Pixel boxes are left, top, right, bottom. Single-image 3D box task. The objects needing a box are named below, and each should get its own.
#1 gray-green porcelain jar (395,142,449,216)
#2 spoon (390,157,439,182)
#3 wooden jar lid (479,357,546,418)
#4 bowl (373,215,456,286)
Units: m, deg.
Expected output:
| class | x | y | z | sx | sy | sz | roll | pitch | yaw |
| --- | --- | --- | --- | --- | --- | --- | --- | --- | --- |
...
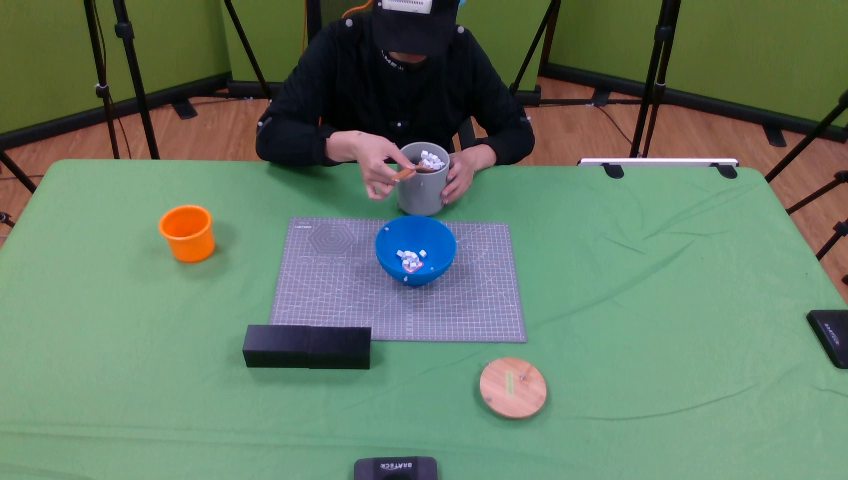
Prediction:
| class | x | y | z | sx | sy | sz | roll | pitch | yaw |
| --- | --- | --- | --- | --- | --- | --- | --- | --- | --- |
| gray-green porcelain jar | -0.006 | -0.119 | 1.241 | 0.106 | 0.127 | 0.105 | 2 | 46 | -2 |
| spoon | -0.020 | -0.135 | 1.158 | 0.041 | 0.022 | 0.194 | 28 | 23 | 15 |
| wooden jar lid | 0.142 | 0.240 | 0.979 | 0.108 | 0.021 | 0.107 | 1 | 46 | -1 |
| bowl | -0.019 | 0.032 | 1.122 | 0.151 | 0.077 | 0.150 | 2 | 46 | -2 |
